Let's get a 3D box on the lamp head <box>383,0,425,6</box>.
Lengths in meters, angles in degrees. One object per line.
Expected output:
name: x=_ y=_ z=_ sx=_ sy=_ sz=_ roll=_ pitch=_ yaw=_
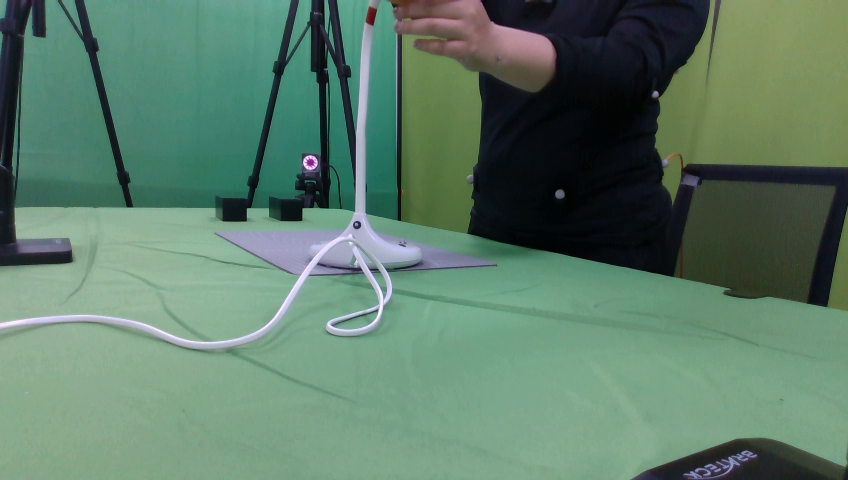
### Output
lamp head: x=-0.025 y=-0.325 z=0.671 sx=0.112 sy=0.123 sz=0.112 roll=4 pitch=3 yaw=0

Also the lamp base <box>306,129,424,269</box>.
lamp base: x=-0.077 y=-0.057 z=0.810 sx=0.161 sy=0.180 sz=0.179 roll=2 pitch=10 yaw=-4
